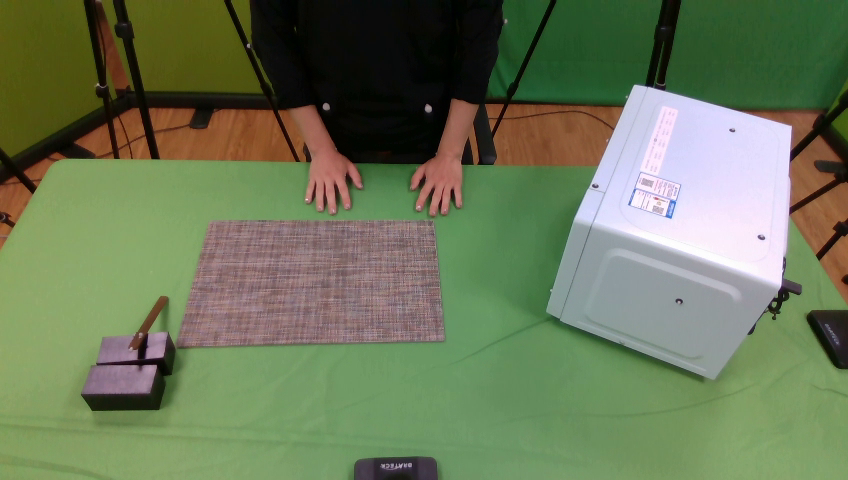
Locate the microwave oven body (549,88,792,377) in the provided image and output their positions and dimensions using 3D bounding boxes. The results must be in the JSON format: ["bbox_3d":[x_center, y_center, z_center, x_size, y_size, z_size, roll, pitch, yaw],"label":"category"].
[{"bbox_3d":[0.456,-0.028,1.088,0.325,0.261,0.440,20,47,16],"label":"microwave oven body"}]

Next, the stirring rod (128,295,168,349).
[{"bbox_3d":[-0.451,0.131,0.996,0.014,0.006,0.175,9,21,-10],"label":"stirring rod"}]

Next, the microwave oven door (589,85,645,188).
[{"bbox_3d":[0.342,-0.107,1.149,0.039,0.245,0.354,20,48,15],"label":"microwave oven door"}]

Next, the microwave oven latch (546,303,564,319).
[{"bbox_3d":[0.242,0.102,1.081,0.030,0.029,0.079,21,48,17],"label":"microwave oven latch"}]
